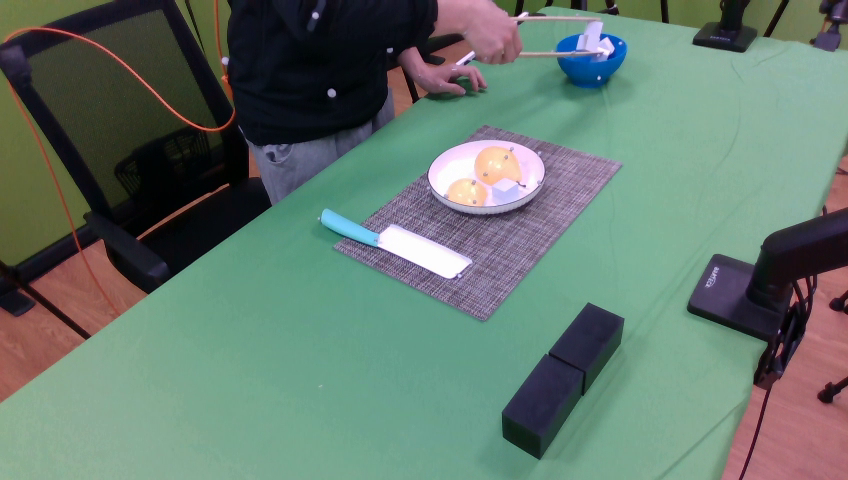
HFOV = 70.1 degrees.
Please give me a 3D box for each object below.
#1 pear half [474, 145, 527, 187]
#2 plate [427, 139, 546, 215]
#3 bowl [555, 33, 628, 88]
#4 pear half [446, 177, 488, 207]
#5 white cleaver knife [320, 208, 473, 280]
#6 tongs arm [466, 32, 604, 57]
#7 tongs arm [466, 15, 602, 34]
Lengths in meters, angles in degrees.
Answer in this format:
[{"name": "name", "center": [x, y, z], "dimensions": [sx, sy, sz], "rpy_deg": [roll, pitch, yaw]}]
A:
[{"name": "pear half", "center": [0.140, -0.129, 1.059], "dimensions": [0.076, 0.056, 0.109], "rpy_deg": [-37, 53, -25]}, {"name": "plate", "center": [0.109, -0.107, 1.058], "dimensions": [0.207, 0.039, 0.206], "rpy_deg": [-4, 41, 4]}, {"name": "bowl", "center": [0.361, -0.384, 1.319], "dimensions": [0.151, 0.077, 0.150], "rpy_deg": [-4, 41, 4]}, {"name": "pear half", "center": [0.073, -0.086, 1.032], "dimensions": [0.070, 0.031, 0.087], "rpy_deg": [-20, 36, -9]}, {"name": "white cleaver knife", "center": [-0.053, 0.001, 0.978], "dimensions": [0.284, 0.021, 0.066], "rpy_deg": [23, 40, 26]}, {"name": "tongs arm", "center": [0.226, -0.373, 1.154], "dimensions": [0.387, 0.051, 0.026], "rpy_deg": [-18, 18, -39]}, {"name": "tongs arm", "center": [0.222, -0.411, 1.146], "dimensions": [0.390, 0.028, 0.027], "rpy_deg": [-18, 22, -39]}]
